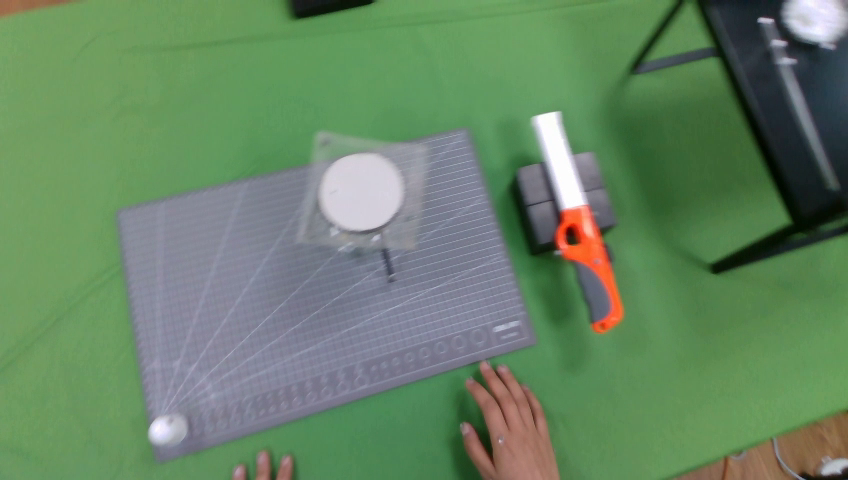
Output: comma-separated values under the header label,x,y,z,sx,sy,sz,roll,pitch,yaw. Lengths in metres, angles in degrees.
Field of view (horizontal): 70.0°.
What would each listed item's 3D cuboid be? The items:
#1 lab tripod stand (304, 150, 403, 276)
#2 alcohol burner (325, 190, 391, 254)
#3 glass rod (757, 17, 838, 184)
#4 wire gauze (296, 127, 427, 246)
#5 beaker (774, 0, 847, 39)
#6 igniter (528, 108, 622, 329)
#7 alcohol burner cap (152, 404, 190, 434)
label,x,y,z,sx,sy,sz,roll,pitch,yaw
lab tripod stand,-0.071,-0.039,0.691,0.148,0.132,0.147,1,72,-3
alcohol burner,-0.076,-0.025,0.697,0.078,0.119,0.077,1,76,-3
glass rod,0.393,-0.151,0.639,0.008,0.008,0.198,-14,76,-8
wire gauze,-0.063,-0.056,0.626,0.121,0.011,0.124,7,73,-3
beaker,0.421,-0.265,0.627,0.084,0.100,0.074,40,74,8
igniter,0.178,-0.031,0.717,0.057,0.025,0.275,-13,74,-5
alcohol burner cap,-0.277,0.194,0.656,0.034,0.048,0.033,2,73,-5
